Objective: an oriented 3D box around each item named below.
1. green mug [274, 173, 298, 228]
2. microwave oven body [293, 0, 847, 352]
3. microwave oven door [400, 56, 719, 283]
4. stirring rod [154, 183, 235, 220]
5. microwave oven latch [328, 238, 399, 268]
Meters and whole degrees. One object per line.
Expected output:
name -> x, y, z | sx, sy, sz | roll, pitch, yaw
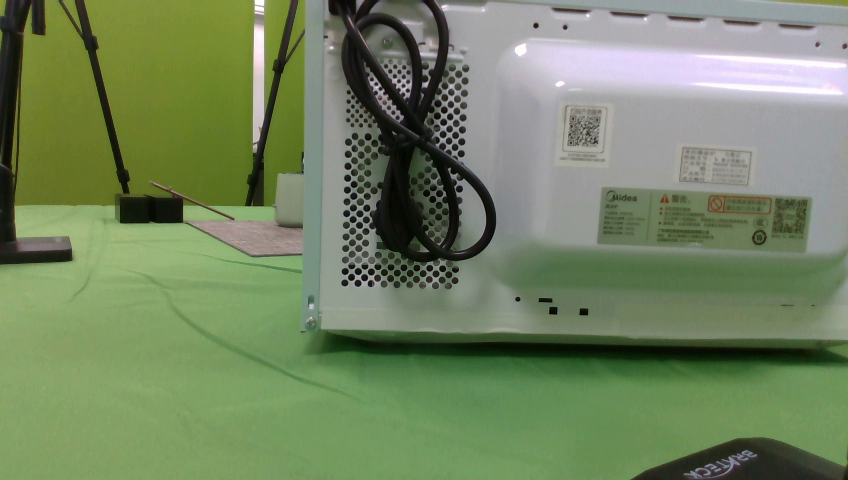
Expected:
green mug -> -0.242, -0.081, 1.221 | 0.092, 0.105, 0.126 | 8, 9, 39
microwave oven body -> 0.122, -0.055, 0.550 | 0.442, 0.260, 0.325 | 3, 7, -5
microwave oven door -> 0.155, -0.077, 0.697 | 0.356, 0.243, 0.039 | 2, 8, -5
stirring rod -> -0.472, -0.079, 1.252 | 0.177, 0.006, 0.014 | 27, 4, -35
microwave oven latch -> -0.069, 0.015, 0.694 | 0.079, 0.029, 0.030 | 3, 7, -3
